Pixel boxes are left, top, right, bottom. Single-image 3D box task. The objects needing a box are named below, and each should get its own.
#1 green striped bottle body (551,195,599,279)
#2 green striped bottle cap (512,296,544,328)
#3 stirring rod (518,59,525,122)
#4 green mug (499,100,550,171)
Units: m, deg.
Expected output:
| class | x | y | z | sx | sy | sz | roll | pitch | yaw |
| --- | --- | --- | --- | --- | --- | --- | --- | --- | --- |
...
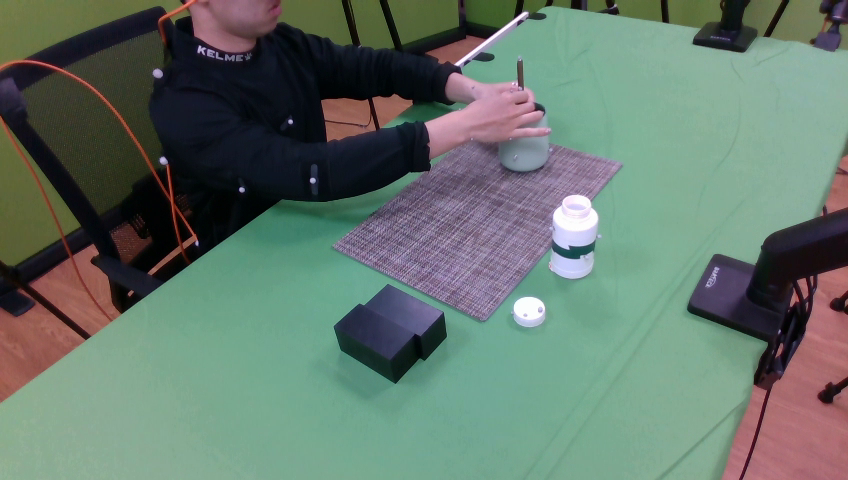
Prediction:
| class | x | y | z | sx | sy | sz | roll | pitch | yaw |
| --- | --- | --- | --- | --- | --- | --- | --- | --- | --- |
| green striped bottle body | 0.217 | -0.007 | 0.870 | 0.063 | 0.120 | 0.063 | -4 | 41 | 4 |
| green striped bottle cap | 0.144 | 0.099 | 0.837 | 0.044 | 0.020 | 0.044 | -1 | 43 | 2 |
| stirring rod | 0.173 | -0.234 | 1.069 | 0.006 | 0.177 | 0.014 | 17 | 45 | 29 |
| green mug | 0.183 | -0.197 | 1.101 | 0.092 | 0.105 | 0.125 | 1 | 41 | 9 |
